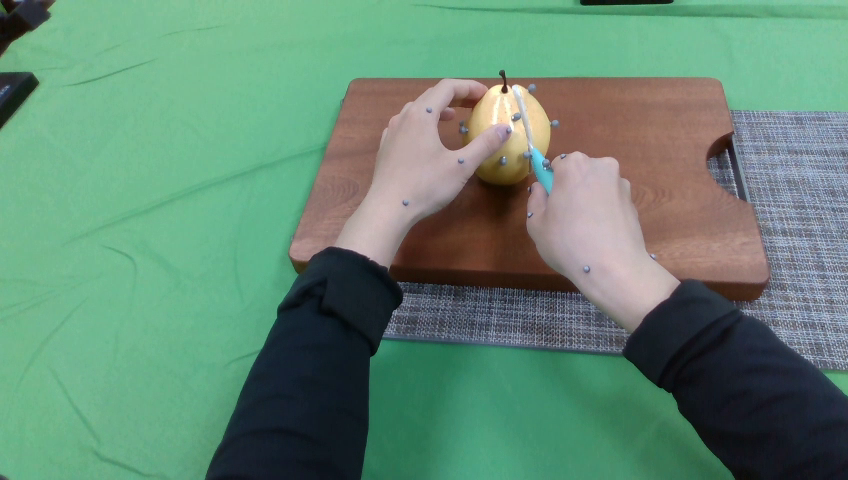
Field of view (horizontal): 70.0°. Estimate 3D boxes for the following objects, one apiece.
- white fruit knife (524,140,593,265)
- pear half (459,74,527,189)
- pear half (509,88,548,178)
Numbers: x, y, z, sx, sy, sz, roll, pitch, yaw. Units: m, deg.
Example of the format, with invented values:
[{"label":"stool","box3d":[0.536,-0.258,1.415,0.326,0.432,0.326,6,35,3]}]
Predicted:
[{"label":"white fruit knife","box3d":[0.094,-0.063,0.516,0.016,0.028,0.205,-17,50,-5]},{"label":"pear half","box3d":[0.058,-0.097,0.537,0.056,0.111,0.075,-18,45,-7]},{"label":"pear half","box3d":[0.095,-0.100,0.548,0.031,0.089,0.069,-18,47,-11]}]
